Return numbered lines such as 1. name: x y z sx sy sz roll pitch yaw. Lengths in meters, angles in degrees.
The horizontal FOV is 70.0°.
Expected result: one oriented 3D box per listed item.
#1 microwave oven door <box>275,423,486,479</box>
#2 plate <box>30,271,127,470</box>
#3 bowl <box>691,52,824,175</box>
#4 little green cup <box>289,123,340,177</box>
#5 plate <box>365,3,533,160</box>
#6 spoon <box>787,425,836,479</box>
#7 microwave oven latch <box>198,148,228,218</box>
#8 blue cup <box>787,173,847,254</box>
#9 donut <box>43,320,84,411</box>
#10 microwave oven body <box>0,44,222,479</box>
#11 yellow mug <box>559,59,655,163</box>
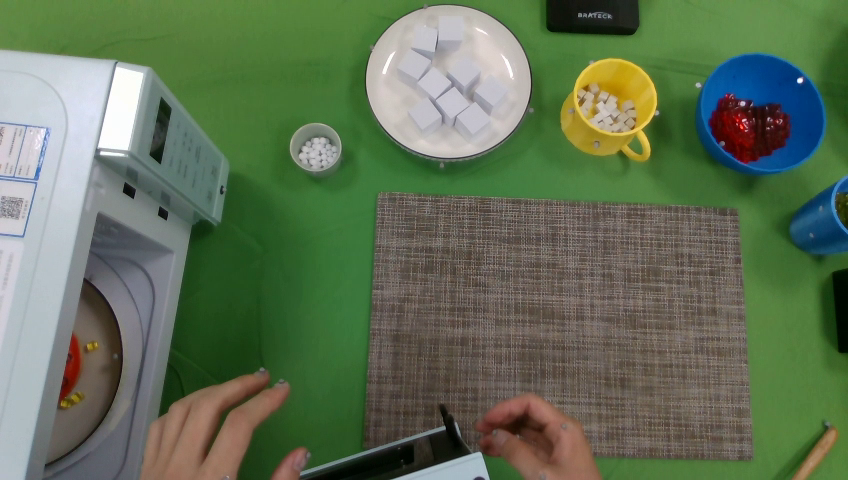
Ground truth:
1. microwave oven door: -0.124 0.243 0.546 0.356 0.244 0.039 -16 78 -5
2. plate: -0.406 0.128 0.619 0.209 0.038 0.208 1 78 -2
3. bowl: 0.393 -0.143 0.744 0.151 0.077 0.150 0 79 -1
4. little green cup: -0.131 -0.107 0.738 0.061 0.039 0.061 0 79 -2
5. plate: 0.031 -0.196 0.763 0.208 0.039 0.206 0 78 -2
6. spoon: 0.410 0.281 0.686 0.193 0.022 0.041 -42 70 -9
7. microwave oven latch: -0.250 -0.068 0.708 0.030 0.029 0.079 8 79 -1
8. blue cup: 0.484 -0.024 0.710 0.093 0.100 0.092 0 76 -2
9. donut: -0.392 0.123 0.606 0.099 0.048 0.098 1 81 -3
10. microwave oven body: -0.412 0.069 0.577 0.326 0.261 0.440 6 79 -1
11. yellow mug: 0.233 -0.150 0.746 0.100 0.064 0.130 -34 82 -8
